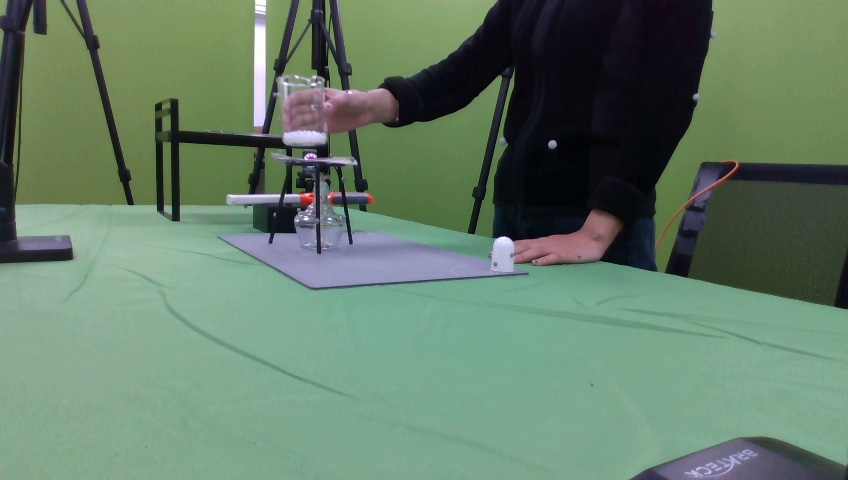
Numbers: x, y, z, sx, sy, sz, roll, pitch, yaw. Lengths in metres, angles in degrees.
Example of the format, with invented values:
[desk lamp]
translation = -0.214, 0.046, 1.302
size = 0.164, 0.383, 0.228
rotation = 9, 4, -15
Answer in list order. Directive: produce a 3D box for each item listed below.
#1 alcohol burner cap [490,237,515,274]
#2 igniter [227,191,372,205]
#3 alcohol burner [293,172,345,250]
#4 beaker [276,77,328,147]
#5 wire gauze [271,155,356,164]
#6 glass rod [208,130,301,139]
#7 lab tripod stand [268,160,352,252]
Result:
[alcohol burner cap]
translation = 0.104, 0.020, 0.793
size = 0.034, 0.048, 0.034
rotation = 2, 6, 0
[igniter]
translation = -0.232, -0.080, 1.162
size = 0.278, 0.025, 0.057
rotation = -3, 12, -28
[alcohol burner]
translation = -0.159, -0.045, 0.921
size = 0.078, 0.119, 0.078
rotation = 5, 7, 0
[beaker]
translation = -0.186, -0.197, 0.936
size = 0.074, 0.100, 0.083
rotation = -6, 6, -27
[wire gauze]
translation = -0.167, -0.122, 0.916
size = 0.125, 0.011, 0.121
rotation = 0, 7, -9
[glass rod]
translation = -0.366, -0.231, 1.320
size = 0.201, 0.008, 0.008
rotation = -1, 8, -30
[lab tripod stand]
translation = -0.171, -0.055, 0.921
size = 0.148, 0.131, 0.148
rotation = 1, 8, 0
